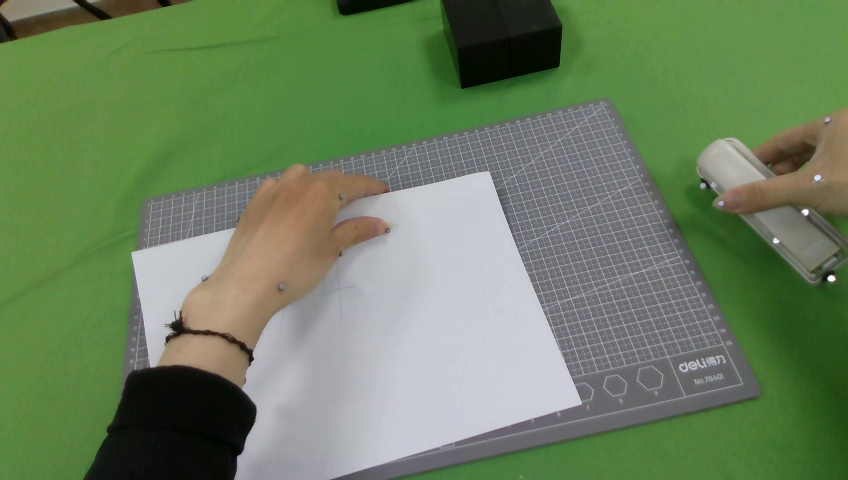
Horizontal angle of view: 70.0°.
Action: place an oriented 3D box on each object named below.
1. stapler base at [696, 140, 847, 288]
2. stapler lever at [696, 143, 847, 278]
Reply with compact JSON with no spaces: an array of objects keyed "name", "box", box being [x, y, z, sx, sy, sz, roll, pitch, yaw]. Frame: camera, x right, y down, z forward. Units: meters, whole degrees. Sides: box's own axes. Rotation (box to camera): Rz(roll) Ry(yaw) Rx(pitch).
[{"name":"stapler base","box":[0.260,-0.024,0.456,0.041,0.024,0.129,-50,61,27]},{"name":"stapler lever","box":[0.246,-0.025,0.436,0.027,0.040,0.117,-50,61,27]}]
